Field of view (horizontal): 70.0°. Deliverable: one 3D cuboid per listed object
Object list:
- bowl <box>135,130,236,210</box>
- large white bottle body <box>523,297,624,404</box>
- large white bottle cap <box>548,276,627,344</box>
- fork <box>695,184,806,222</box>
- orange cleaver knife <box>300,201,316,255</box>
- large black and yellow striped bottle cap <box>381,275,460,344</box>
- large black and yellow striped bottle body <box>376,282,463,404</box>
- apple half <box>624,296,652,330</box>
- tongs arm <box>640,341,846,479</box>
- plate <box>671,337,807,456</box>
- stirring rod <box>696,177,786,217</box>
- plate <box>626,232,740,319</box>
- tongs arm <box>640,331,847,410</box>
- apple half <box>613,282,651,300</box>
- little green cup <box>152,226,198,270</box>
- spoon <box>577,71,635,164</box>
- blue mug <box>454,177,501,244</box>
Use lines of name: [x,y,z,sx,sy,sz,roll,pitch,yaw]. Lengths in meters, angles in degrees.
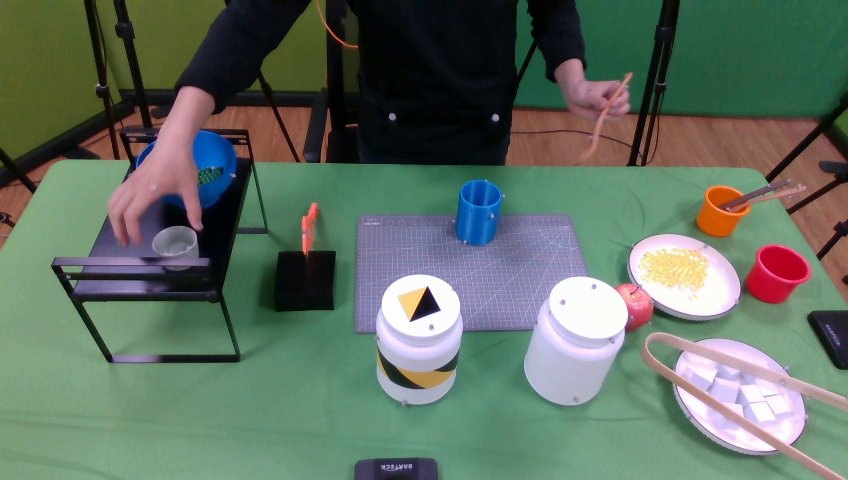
bowl: [-0.375,-0.102,0.977,0.151,0.077,0.150,2,47,-2]
large white bottle body: [0.235,0.159,0.952,0.131,0.185,0.130,2,47,-2]
large white bottle cap: [0.240,0.100,0.890,0.115,0.018,0.114,3,47,-3]
fork: [0.658,-0.074,1.229,0.207,0.019,0.028,-24,34,36]
orange cleaver knife: [-0.221,-0.027,1.160,0.012,0.077,0.210,-1,15,-4]
large black and yellow striped bottle cap: [-0.005,0.098,0.875,0.115,0.019,0.114,2,45,-1]
large black and yellow striped bottle body: [-0.010,0.155,0.937,0.131,0.185,0.130,2,47,-2]
apple half: [0.368,0.135,1.060,0.081,0.081,0.032,-11,43,-15]
tongs arm: [0.500,0.278,0.920,0.386,0.028,0.028,34,60,22]
plate: [0.503,0.254,0.984,0.208,0.039,0.206,2,46,-2]
stirring rod: [0.648,-0.087,1.244,0.176,0.006,0.014,-25,50,29]
plate: [0.488,0.071,1.157,0.209,0.038,0.208,3,46,-3]
tongs arm: [0.543,0.226,0.969,0.384,0.026,0.050,22,53,13]
apple half: [0.356,0.109,1.086,0.081,0.075,0.053,-13,44,-12]
little green cup: [-0.364,0.013,0.894,0.061,0.039,0.061,3,46,-3]
spoon: [0.318,-0.213,1.051,0.021,0.041,0.193,27,86,-1]
blue mug: [0.106,-0.067,1.208,0.082,0.106,0.116,6,46,1]
